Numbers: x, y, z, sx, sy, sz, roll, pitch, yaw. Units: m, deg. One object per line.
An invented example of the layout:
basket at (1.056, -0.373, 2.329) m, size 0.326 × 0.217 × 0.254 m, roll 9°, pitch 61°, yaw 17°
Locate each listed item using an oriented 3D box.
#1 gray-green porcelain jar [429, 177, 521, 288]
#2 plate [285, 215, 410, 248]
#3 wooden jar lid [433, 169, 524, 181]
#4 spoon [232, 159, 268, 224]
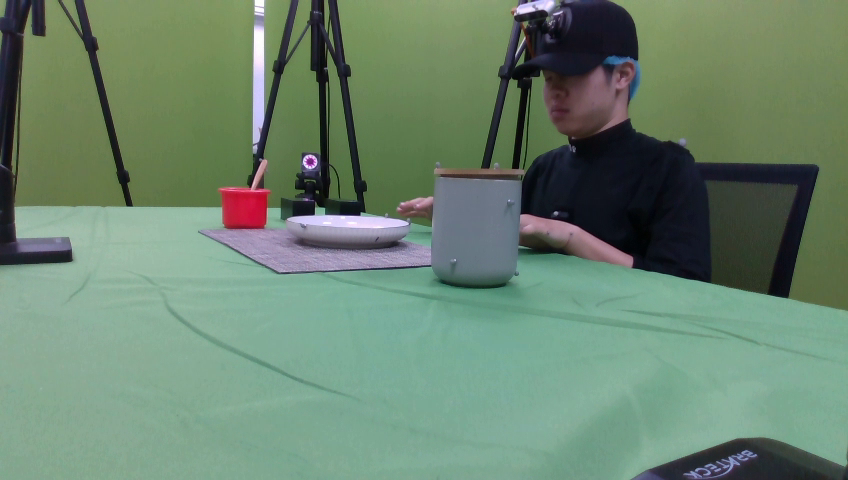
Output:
gray-green porcelain jar at (0.060, -0.011, 0.725) m, size 0.106 × 0.126 × 0.106 m, roll 2°, pitch 7°, yaw 0°
plate at (-0.127, -0.015, 1.012) m, size 0.208 × 0.039 × 0.207 m, roll 3°, pitch 7°, yaw 0°
wooden jar lid at (0.064, -0.074, 0.717) m, size 0.108 × 0.020 × 0.108 m, roll 0°, pitch 5°, yaw 0°
spoon at (-0.342, -0.101, 1.218) m, size 0.041 × 0.021 × 0.193 m, roll 4°, pitch 51°, yaw 4°
